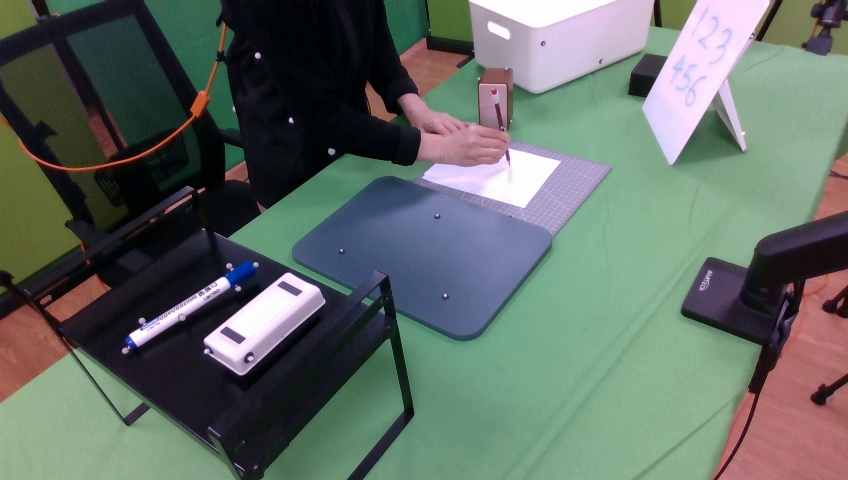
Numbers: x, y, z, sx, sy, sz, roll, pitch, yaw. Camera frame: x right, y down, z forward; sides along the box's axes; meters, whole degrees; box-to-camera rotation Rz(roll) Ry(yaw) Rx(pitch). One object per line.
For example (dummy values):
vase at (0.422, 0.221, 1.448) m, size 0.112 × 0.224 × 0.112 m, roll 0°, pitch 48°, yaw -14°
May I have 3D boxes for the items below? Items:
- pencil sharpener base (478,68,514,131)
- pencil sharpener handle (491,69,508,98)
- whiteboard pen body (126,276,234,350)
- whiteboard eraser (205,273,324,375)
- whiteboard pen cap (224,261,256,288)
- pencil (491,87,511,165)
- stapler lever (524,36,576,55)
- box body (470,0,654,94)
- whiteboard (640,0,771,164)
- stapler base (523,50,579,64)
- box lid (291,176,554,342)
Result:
pencil sharpener base at (0.148, -0.286, 1.225) m, size 0.061 × 0.107 × 0.076 m, roll 5°, pitch 41°, yaw 15°
pencil sharpener handle at (0.155, -0.329, 1.254) m, size 0.036 × 0.068 × 0.030 m, roll 17°, pitch 43°, yaw 3°
whiteboard pen body at (-0.251, 0.071, 0.649) m, size 0.141 × 0.017 × 0.017 m, roll -36°, pitch 48°, yaw -26°
whiteboard eraser at (-0.157, 0.084, 0.605) m, size 0.055 × 0.042 × 0.113 m, roll 24°, pitch 49°, yaw 30°
whiteboard pen cap at (-0.207, 0.039, 0.677) m, size 0.033 × 0.018 × 0.018 m, roll -35°, pitch 47°, yaw -18°
pencil at (0.136, -0.192, 1.047) m, size 0.012 × 0.195 × 0.012 m, roll -8°, pitch 56°, yaw 12°
stapler lever at (0.296, -0.456, 1.418) m, size 0.117 × 0.040 × 0.027 m, roll 4°, pitch 40°, yaw 17°
box body at (0.319, -0.498, 1.405) m, size 0.365 × 0.161 × 0.252 m, roll -26°, pitch 43°, yaw -21°
whiteboard at (0.543, -0.299, 1.076) m, size 0.144 × 0.305 × 0.216 m, roll 12°, pitch 40°, yaw -7°
stapler base at (0.301, -0.436, 1.434) m, size 0.130 × 0.024 × 0.041 m, roll 5°, pitch 40°, yaw 17°
box lid at (-0.005, 0.011, 0.972) m, size 0.368 × 0.015 × 0.264 m, roll 21°, pitch 49°, yaw 30°
